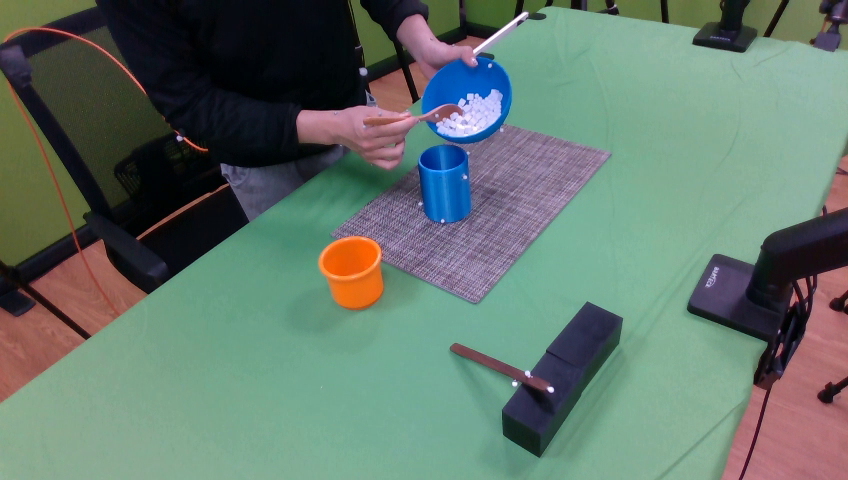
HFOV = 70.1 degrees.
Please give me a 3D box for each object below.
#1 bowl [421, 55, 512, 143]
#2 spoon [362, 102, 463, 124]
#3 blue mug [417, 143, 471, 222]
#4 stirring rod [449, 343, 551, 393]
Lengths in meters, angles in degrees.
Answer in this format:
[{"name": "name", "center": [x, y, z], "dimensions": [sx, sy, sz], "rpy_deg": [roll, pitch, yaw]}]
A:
[{"name": "bowl", "center": [0.077, -0.216, 0.993], "dimensions": [0.151, 0.077, 0.151], "rpy_deg": [-6, 68, 16]}, {"name": "spoon", "center": [-0.014, -0.192, 0.941], "dimensions": [0.195, 0.041, 0.021], "rpy_deg": [-16, 58, -41]}, {"name": "blue mug", "center": [0.031, -0.105, 1.014], "dimensions": [0.082, 0.106, 0.115], "rpy_deg": [-14, 41, -7]}, {"name": "stirring rod", "center": [0.088, 0.154, 0.741], "dimensions": [0.014, 0.006, 0.174], "rpy_deg": [-40, 28, -25]}]
